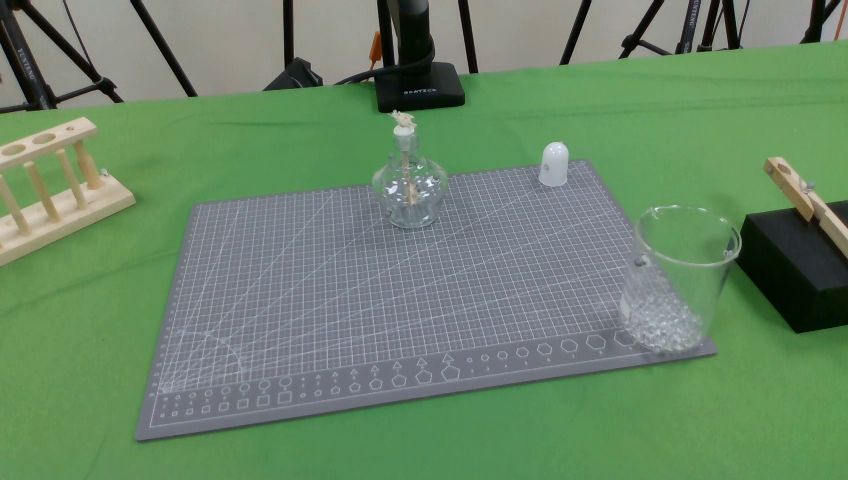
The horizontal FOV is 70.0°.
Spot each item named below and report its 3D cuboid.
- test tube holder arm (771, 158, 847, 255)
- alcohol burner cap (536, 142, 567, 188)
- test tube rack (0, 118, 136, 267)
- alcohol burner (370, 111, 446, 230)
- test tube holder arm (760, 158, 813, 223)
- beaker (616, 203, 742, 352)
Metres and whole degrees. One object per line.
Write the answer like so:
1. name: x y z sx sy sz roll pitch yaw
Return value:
1. test tube holder arm: 0.346 -0.020 0.524 0.013 0.015 0.176 -11 39 3
2. alcohol burner cap: 0.141 -0.085 0.666 0.034 0.048 0.033 -1 40 1
3. test tube rack: -0.428 -0.029 0.598 0.066 0.086 0.242 31 50 34
4. alcohol burner: -0.017 -0.071 0.601 0.078 0.120 0.077 -3 38 3
5. test tube holder arm: 0.336 -0.047 0.559 0.010 0.015 0.087 -10 39 3
6. beaker: 0.192 0.031 0.477 0.074 0.101 0.083 -13 40 -12
